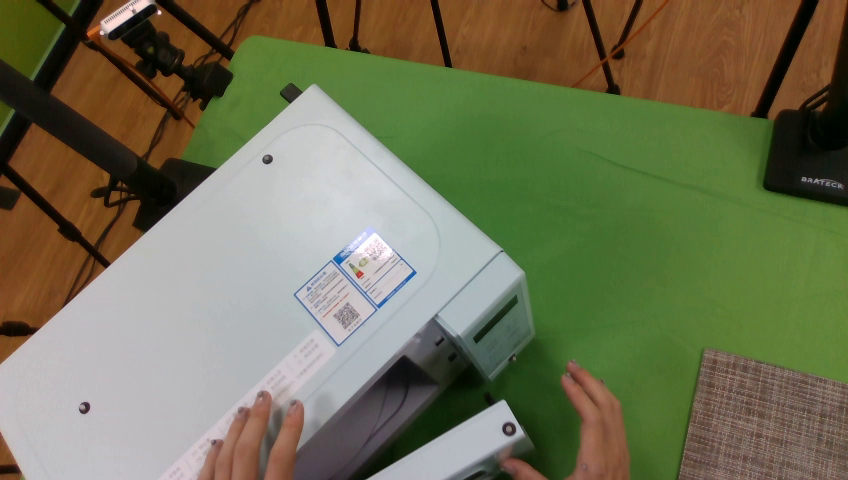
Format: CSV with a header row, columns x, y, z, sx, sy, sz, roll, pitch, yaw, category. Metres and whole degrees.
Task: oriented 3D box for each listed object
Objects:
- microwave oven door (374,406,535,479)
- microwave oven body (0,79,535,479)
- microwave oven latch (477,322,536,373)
x,y,z,sx,sy,sz,roll,pitch,yaw,category
-0.061,0.261,0.570,0.356,0.246,0.039,-30,66,0,microwave oven door
-0.150,0.112,0.653,0.441,0.262,0.323,-44,67,-6,microwave oven body
0.096,0.117,0.703,0.079,0.030,0.030,-42,67,-5,microwave oven latch
